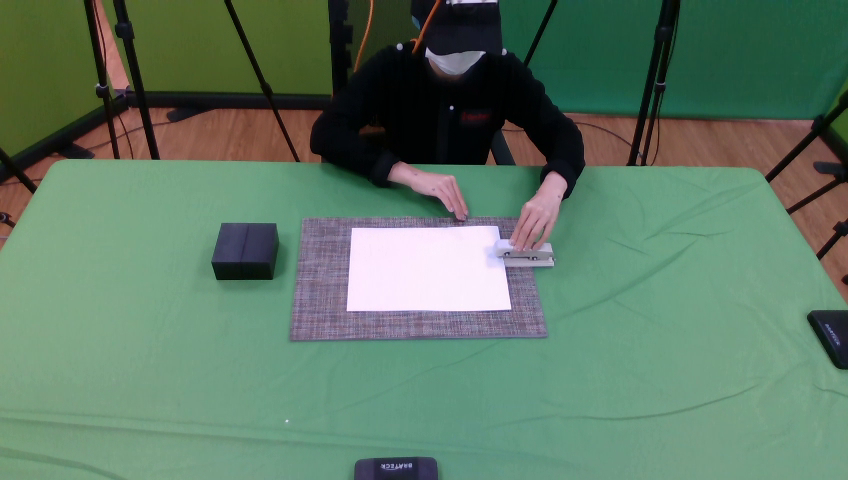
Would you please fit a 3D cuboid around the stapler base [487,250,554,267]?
[{"bbox_3d":[0.189,0.029,1.177,0.131,0.024,0.041,0,48,-7],"label":"stapler base"}]

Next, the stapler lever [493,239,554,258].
[{"bbox_3d":[0.191,0.016,1.164,0.118,0.040,0.026,-4,48,-2],"label":"stapler lever"}]
